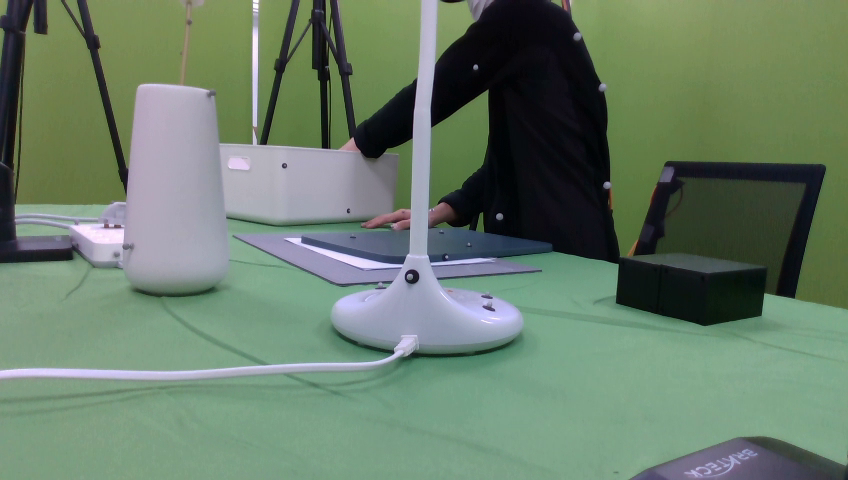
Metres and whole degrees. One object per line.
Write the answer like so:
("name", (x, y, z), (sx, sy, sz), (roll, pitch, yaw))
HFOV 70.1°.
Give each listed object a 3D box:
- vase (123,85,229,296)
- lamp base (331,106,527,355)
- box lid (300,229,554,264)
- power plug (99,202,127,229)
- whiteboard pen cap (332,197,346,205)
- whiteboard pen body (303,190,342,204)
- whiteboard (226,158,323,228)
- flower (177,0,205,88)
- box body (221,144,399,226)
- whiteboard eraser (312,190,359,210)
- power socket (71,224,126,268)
("vase", (-0.244, -0.047, 0.598), (0.098, 0.200, 0.098), (3, 8, 0))
("lamp base", (0.006, -0.012, 0.478), (0.161, 0.180, 0.179), (2, 10, 2))
("box lid", (0.011, 0.006, 0.998), (0.374, 0.015, 0.262), (-3, 9, -43))
("power plug", (-0.415, -0.026, 0.848), (0.073, 0.052, 0.035), (6, 5, -28))
("whiteboard pen cap", (-0.196, -0.090, 1.390), (0.033, 0.018, 0.018), (9, 10, 40))
("whiteboard pen body", (-0.240, -0.100, 1.428), (0.140, 0.017, 0.017), (16, 14, 40))
("whiteboard", (-0.276, -0.119, 1.376), (0.216, 0.143, 0.307), (7, 10, 39))
("flower", (-0.243, -0.131, 0.609), (0.044, 0.361, 0.038), (-5, -12, 12))
("box body", (-0.264, -0.129, 1.380), (0.253, 0.160, 0.366), (8, 9, 39))
("whiteboard eraser", (-0.222, -0.099, 1.516), (0.112, 0.042, 0.056), (10, 17, 33))
("power socket", (-0.409, 0.004, 0.793), (0.072, 0.032, 0.225), (-2, 8, -37))
